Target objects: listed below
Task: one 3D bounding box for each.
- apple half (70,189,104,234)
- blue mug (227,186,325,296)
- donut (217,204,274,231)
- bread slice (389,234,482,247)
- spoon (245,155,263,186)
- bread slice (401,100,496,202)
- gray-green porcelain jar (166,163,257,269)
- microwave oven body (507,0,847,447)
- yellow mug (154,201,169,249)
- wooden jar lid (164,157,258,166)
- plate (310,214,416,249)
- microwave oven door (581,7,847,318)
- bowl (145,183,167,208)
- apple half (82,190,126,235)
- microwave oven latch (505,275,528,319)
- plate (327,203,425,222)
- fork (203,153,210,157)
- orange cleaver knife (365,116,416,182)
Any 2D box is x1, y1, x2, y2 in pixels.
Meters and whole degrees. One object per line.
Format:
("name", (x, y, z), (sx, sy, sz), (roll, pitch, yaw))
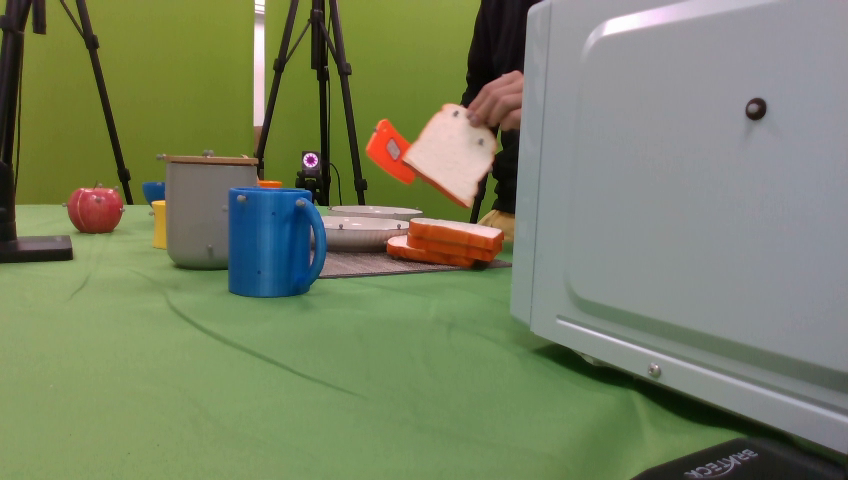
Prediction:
("apple half", (-0.552, -0.048, 1.010), (0.053, 0.074, 0.081), (-1, 9, 26))
("blue mug", (-0.146, 0.000, 0.618), (0.116, 0.106, 0.083), (7, 9, 32))
("donut", (-0.317, -0.038, 1.080), (0.099, 0.048, 0.099), (3, 7, 0))
("bread slice", (0.015, 0.001, 0.873), (0.131, 0.019, 0.105), (1, 0, 2))
("spoon", (-0.421, -0.150, 1.540), (0.042, 0.021, 0.193), (-5, 55, -37))
("bread slice", (0.038, -0.125, 0.798), (0.107, 0.134, 0.018), (32, -34, -10))
("gray-green porcelain jar", (-0.263, -0.031, 0.754), (0.106, 0.126, 0.106), (2, 7, 0))
("microwave oven body", (0.331, -0.042, 0.425), (0.444, 0.260, 0.324), (-2, 8, -31))
("yellow mug", (-0.337, -0.022, 0.899), (0.130, 0.064, 0.100), (8, 9, 34))
("wooden jar lid", (-0.261, -0.093, 0.746), (0.108, 0.020, 0.108), (0, 9, 0))
("plate", (-0.116, -0.014, 0.967), (0.208, 0.039, 0.207), (2, 7, 0))
("microwave oven door", (0.295, -0.067, 0.569), (0.358, 0.243, 0.039), (-3, 8, -31))
("bowl", (-0.459, -0.068, 1.175), (0.151, 0.077, 0.151), (3, 7, 0))
("apple half", (-0.516, -0.046, 0.994), (0.032, 0.081, 0.081), (0, 6, 26))
("microwave oven latch", (0.100, 0.041, 0.471), (0.079, 0.029, 0.030), (-2, 7, -29))
("plate", (-0.102, -0.053, 1.299), (0.209, 0.038, 0.209), (2, 8, 0))
("fork", (-0.480, -0.136, 1.411), (0.028, 0.018, 0.207), (1, -34, -1))
("orange cleaver knife", (-0.026, -0.138, 1.007), (0.012, 0.077, 0.212), (8, -7, 35))
